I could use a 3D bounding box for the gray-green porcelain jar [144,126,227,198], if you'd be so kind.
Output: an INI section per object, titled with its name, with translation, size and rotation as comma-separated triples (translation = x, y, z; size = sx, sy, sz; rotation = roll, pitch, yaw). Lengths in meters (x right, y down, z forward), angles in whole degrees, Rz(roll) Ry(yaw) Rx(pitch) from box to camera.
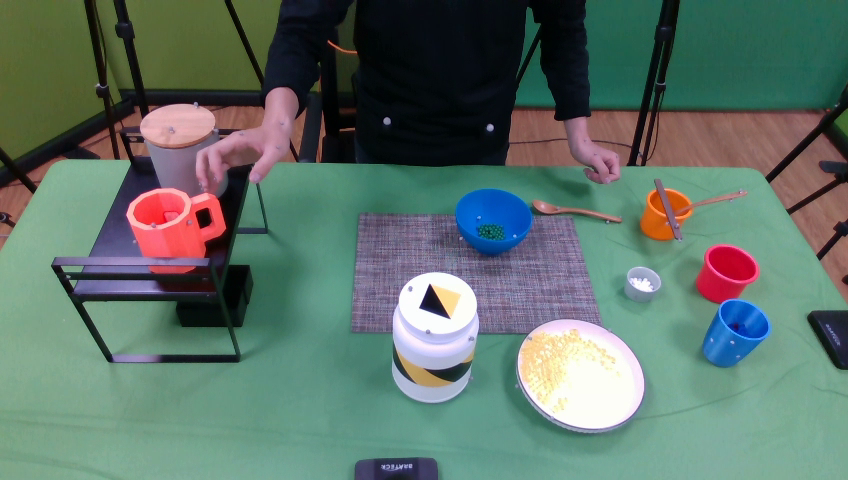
[gray-green porcelain jar]
translation = -0.375, -0.125, 0.967
size = 0.106, 0.127, 0.105
rotation = 2, 46, -2

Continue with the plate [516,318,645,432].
[plate]
translation = 0.253, 0.221, 0.992
size = 0.209, 0.038, 0.208
rotation = 2, 46, -2

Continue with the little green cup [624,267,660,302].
[little green cup]
translation = 0.406, 0.084, 1.135
size = 0.061, 0.039, 0.061
rotation = 3, 45, -3

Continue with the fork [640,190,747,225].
[fork]
translation = 0.533, -0.065, 1.211
size = 0.207, 0.019, 0.028
rotation = -22, 28, 39

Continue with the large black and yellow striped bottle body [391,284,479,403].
[large black and yellow striped bottle body]
translation = 0.015, 0.153, 0.938
size = 0.131, 0.185, 0.130
rotation = 2, 46, -2

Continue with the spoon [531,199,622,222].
[spoon]
translation = 0.321, -0.060, 1.279
size = 0.194, 0.022, 0.041
rotation = 8, 32, 4

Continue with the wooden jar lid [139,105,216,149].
[wooden jar lid]
translation = -0.372, -0.169, 0.920
size = 0.108, 0.021, 0.107
rotation = 4, 44, -4

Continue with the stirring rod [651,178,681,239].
[stirring rod]
translation = 0.480, -0.065, 1.204
size = 0.014, 0.006, 0.175
rotation = 3, 46, -3

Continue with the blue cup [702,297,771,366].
[blue cup]
translation = 0.519, 0.162, 1.025
size = 0.093, 0.101, 0.092
rotation = 3, 45, -3

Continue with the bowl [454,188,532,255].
[bowl]
translation = 0.131, -0.025, 1.187
size = 0.151, 0.077, 0.150
rotation = 2, 46, -2

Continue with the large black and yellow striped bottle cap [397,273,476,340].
[large black and yellow striped bottle cap]
translation = 0.018, 0.094, 0.878
size = 0.115, 0.019, 0.114
rotation = 3, 46, -3

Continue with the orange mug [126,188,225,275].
[orange mug]
translation = -0.357, -0.020, 0.885
size = 0.126, 0.101, 0.083
rotation = -29, 54, -23
